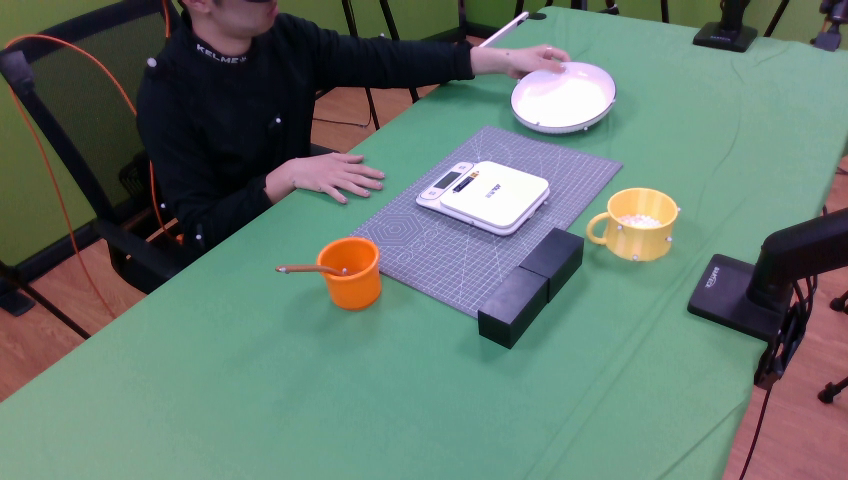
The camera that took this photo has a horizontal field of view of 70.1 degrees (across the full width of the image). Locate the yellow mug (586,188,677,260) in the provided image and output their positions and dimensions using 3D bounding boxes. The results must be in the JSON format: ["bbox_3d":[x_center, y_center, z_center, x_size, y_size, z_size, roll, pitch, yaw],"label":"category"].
[{"bbox_3d":[0.311,-0.022,0.916,0.131,0.064,0.099,-8,40,0],"label":"yellow mug"}]

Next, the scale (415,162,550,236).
[{"bbox_3d":[0.099,-0.079,1.035,0.199,0.032,0.149,23,48,31],"label":"scale"}]

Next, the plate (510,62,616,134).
[{"bbox_3d":[0.280,-0.283,1.225,0.209,0.038,0.208,-8,50,10],"label":"plate"}]

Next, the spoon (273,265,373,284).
[{"bbox_3d":[-0.136,0.045,0.839,0.041,0.195,0.021,18,91,33],"label":"spoon"}]
